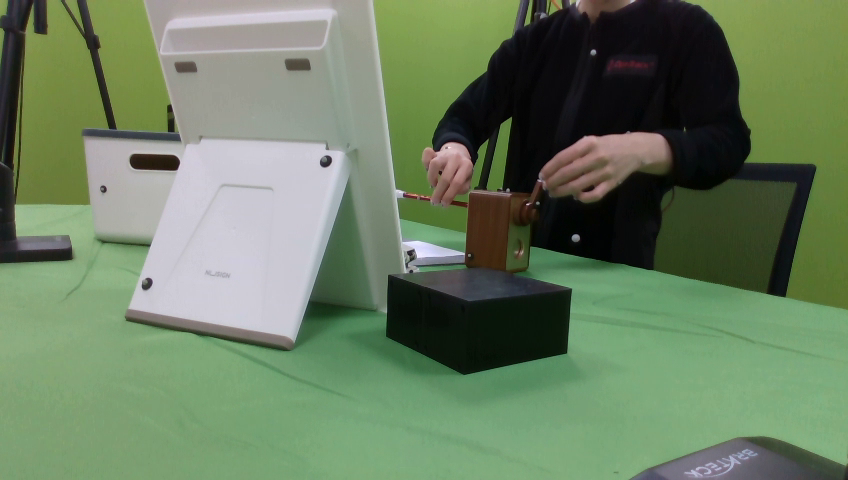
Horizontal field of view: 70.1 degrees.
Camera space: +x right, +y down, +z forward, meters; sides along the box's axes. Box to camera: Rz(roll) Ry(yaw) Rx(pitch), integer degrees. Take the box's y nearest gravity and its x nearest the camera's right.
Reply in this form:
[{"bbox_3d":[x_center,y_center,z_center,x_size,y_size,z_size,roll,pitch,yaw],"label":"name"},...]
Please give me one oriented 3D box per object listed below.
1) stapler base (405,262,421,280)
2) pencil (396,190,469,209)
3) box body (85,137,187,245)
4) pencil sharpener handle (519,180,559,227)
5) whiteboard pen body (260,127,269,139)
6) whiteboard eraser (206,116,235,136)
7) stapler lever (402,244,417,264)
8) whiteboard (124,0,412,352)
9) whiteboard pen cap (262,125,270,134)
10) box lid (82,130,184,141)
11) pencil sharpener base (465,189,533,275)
[{"bbox_3d":[-0.069,0.027,0.759,0.130,0.024,0.041,9,14,23],"label":"stapler base"},{"bbox_3d":[0.020,-0.057,0.881,0.193,0.012,0.012,13,13,41],"label":"pencil"},{"bbox_3d":[-0.340,-0.088,1.022,0.254,0.160,0.364,4,7,11],"label":"box body"},{"bbox_3d":[0.149,-0.047,0.778,0.030,0.067,0.036,10,-19,40],"label":"pencil sharpener handle"},{"bbox_3d":[-0.366,-0.247,1.392,0.017,0.017,0.140,0,3,-17],"label":"whiteboard pen body"},{"bbox_3d":[-0.450,-0.252,1.335,0.056,0.042,0.112,1,7,-22],"label":"whiteboard eraser"},{"bbox_3d":[-0.066,0.003,0.755,0.117,0.040,0.027,9,13,23],"label":"stapler lever"},{"bbox_3d":[-0.151,-0.049,0.472,0.216,0.305,0.144,6,27,24],"label":"whiteboard"},{"bbox_3d":[-0.349,-0.244,1.336,0.018,0.018,0.033,0,2,-17],"label":"whiteboard pen cap"},{"bbox_3d":[-0.337,-0.161,1.011,0.263,0.015,0.372,4,6,11],"label":"box lid"},{"bbox_3d":[0.104,-0.012,0.811,0.076,0.107,0.062,10,10,40],"label":"pencil sharpener base"}]
